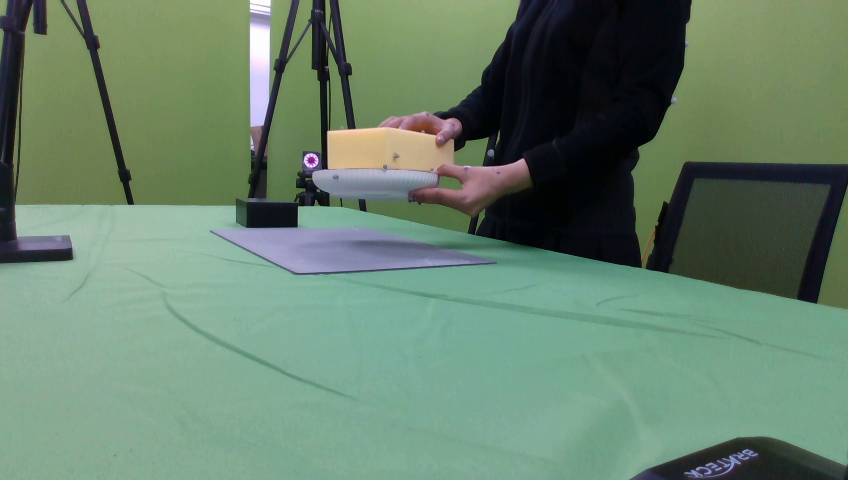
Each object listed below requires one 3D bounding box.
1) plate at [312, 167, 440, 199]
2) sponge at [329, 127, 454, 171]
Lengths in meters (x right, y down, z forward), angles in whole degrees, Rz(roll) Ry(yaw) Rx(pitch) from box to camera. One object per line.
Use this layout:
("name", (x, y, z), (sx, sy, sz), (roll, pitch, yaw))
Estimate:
("plate", (-0.077, -0.090, 0.985), (0.209, 0.038, 0.209), (0, 0, 0))
("sponge", (-0.048, -0.145, 1.001), (0.118, 0.061, 0.208), (2, 5, 30))
